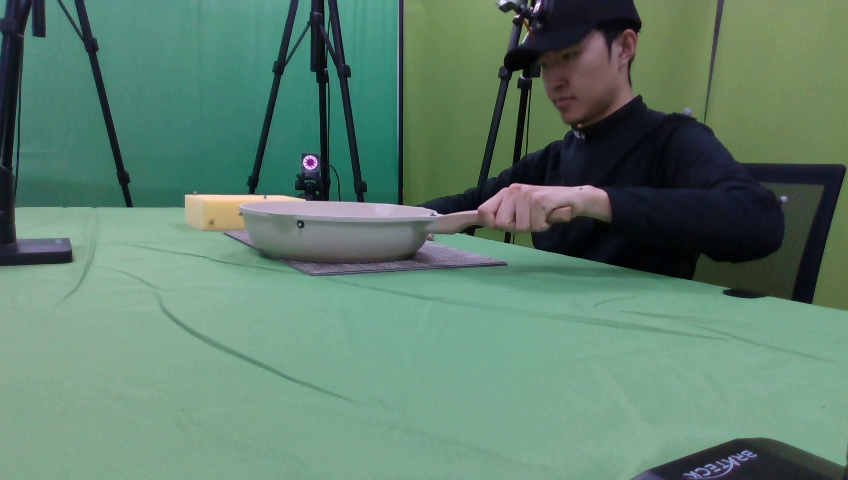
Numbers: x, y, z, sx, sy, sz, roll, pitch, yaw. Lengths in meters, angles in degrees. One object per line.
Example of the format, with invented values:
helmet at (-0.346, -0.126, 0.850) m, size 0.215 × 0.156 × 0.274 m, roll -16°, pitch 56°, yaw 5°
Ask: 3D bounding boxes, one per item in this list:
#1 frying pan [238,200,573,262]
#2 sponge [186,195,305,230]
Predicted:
frying pan at (-0.033, -0.026, 0.867) m, size 0.486 × 0.102 × 0.308 m, roll -4°, pitch 5°, yaw 25°
sponge at (-0.358, -0.057, 1.219) m, size 0.208 × 0.061 × 0.117 m, roll -3°, pitch 8°, yaw -37°
